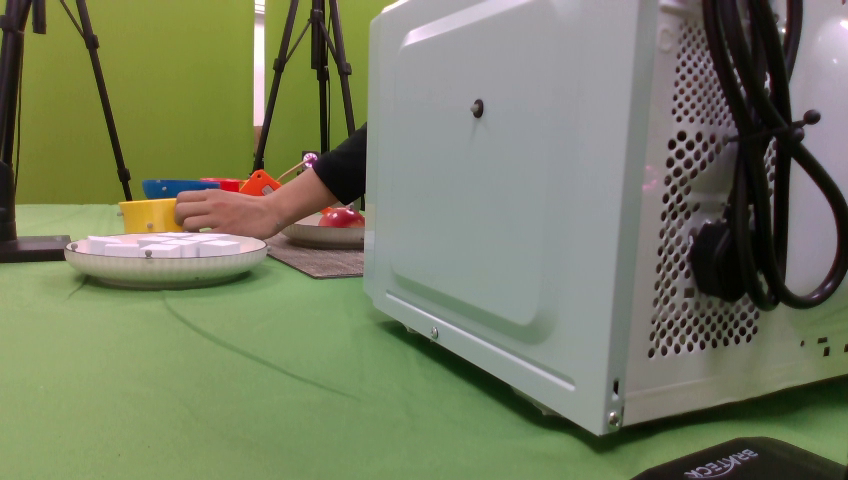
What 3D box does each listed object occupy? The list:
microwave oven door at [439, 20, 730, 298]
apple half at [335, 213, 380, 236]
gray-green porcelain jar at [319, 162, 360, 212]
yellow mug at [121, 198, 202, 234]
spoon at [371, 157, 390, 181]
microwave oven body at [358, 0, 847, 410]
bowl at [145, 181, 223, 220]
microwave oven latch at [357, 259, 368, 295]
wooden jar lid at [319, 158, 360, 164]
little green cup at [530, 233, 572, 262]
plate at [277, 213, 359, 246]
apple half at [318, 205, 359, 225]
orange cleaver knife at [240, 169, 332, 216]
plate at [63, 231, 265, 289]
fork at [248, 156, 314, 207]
[{"bbox_3d":[0.181,-0.076,0.618,0.358,0.243,0.039,-2,8,-28],"label":"microwave oven door"},{"bbox_3d":[-0.112,-0.029,1.034,0.081,0.033,0.081,0,10,0],"label":"apple half"},{"bbox_3d":[-0.204,-0.126,1.489,0.106,0.126,0.106,2,7,0],"label":"gray-green porcelain jar"},{"bbox_3d":[-0.365,-0.025,0.865,0.130,0.064,0.100,0,7,29],"label":"yellow mug"},{"bbox_3d":[-0.074,-0.138,1.129,0.042,0.021,0.193,35,15,-9],"label":"spoon"},{"bbox_3d":[0.210,-0.051,0.471,0.444,0.260,0.324,-1,7,-28],"label":"microwave oven body"},{"bbox_3d":[-0.499,-0.081,1.261,0.151,0.077,0.151,2,7,0],"label":"bowl"},{"bbox_3d":[-0.019,0.031,0.529,0.079,0.029,0.030,-1,7,-26],"label":"microwave oven latch"},{"bbox_3d":[-0.203,-0.189,1.482,0.108,0.020,0.108,2,10,0],"label":"wooden jar lid"},{"bbox_3d":[0.184,0.010,0.880,0.061,0.038,0.061,2,5,0],"label":"little green cup"},{"bbox_3d":[-0.135,-0.018,0.993,0.209,0.038,0.209,2,7,0],"label":"plate"},{"bbox_3d":[-0.126,-0.028,0.954,0.081,0.053,0.074,-2,11,-32],"label":"apple half"},{"bbox_3d":[-0.286,-0.082,1.298,0.212,0.077,0.012,25,-2,-31],"label":"orange cleaver knife"},{"bbox_3d":[-0.288,0.021,0.687,0.208,0.039,0.207,2,8,0],"label":"plate"},{"bbox_3d":[-0.360,-0.147,1.523,0.207,0.019,0.028,-43,18,-6],"label":"fork"}]
